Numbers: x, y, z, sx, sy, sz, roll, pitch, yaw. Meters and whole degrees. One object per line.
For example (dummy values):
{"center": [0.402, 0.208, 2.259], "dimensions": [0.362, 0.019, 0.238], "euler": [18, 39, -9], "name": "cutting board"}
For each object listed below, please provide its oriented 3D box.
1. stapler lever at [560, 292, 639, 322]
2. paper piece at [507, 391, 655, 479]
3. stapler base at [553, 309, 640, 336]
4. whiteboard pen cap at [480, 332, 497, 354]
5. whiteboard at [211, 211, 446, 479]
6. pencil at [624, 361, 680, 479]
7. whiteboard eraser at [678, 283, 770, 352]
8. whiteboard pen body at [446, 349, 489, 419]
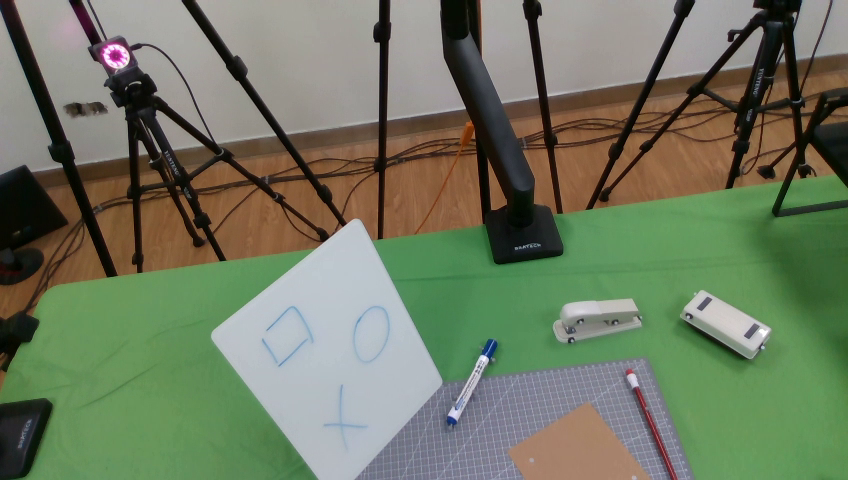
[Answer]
{"center": [0.261, 0.096, 0.903], "dimensions": [0.118, 0.040, 0.026], "euler": [-12, 50, -4], "name": "stapler lever"}
{"center": [0.199, 0.282, 0.782], "dimensions": [0.136, 0.009, 0.136], "euler": [-28, 52, -11], "name": "paper piece"}
{"center": [0.262, 0.113, 0.920], "dimensions": [0.131, 0.024, 0.041], "euler": [-11, 50, -5], "name": "stapler base"}
{"center": [0.097, 0.156, 0.904], "dimensions": [0.018, 0.018, 0.033], "euler": [17, 52, 22], "name": "whiteboard pen cap"}
{"center": [-0.138, 0.134, 0.805], "dimensions": [0.217, 0.308, 0.142], "euler": [-41, 35, -26], "name": "whiteboard"}
{"center": [0.303, 0.245, 0.799], "dimensions": [0.012, 0.012, 0.192], "euler": [-11, 49, -2], "name": "pencil"}
{"center": [0.435, 0.114, 0.882], "dimensions": [0.055, 0.042, 0.111], "euler": [-39, 54, -23], "name": "whiteboard eraser"}
{"center": [0.068, 0.195, 0.873], "dimensions": [0.017, 0.017, 0.140], "euler": [18, 52, 23], "name": "whiteboard pen body"}
